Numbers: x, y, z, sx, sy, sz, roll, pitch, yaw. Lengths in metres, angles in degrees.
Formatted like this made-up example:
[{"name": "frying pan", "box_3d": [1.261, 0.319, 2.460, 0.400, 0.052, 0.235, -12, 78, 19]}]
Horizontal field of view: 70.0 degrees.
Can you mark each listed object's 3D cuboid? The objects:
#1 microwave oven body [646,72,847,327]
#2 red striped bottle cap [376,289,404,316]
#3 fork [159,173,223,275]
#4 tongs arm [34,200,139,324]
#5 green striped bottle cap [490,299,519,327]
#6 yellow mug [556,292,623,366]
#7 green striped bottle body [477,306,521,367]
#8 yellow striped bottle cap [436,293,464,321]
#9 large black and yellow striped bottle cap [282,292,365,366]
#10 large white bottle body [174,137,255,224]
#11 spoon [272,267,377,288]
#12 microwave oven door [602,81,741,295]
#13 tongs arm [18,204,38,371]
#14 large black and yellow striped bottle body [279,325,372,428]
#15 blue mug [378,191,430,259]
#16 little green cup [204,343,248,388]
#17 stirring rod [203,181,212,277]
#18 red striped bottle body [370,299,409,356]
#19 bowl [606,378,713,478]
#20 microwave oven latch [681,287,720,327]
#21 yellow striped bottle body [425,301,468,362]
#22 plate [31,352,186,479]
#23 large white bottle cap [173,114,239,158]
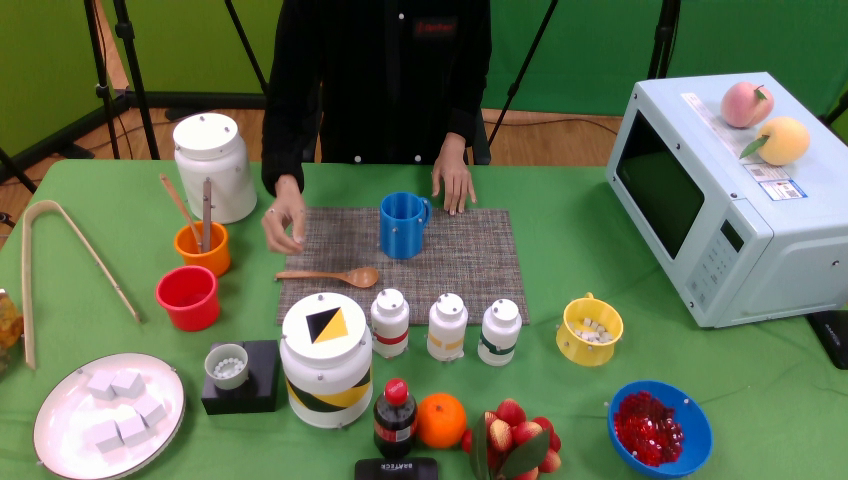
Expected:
[{"name": "microwave oven body", "box_3d": [0.607, -0.089, 1.164, 0.326, 0.261, 0.438, -7, 46, -10]}, {"name": "red striped bottle cap", "box_3d": [-0.055, 0.098, 0.958, 0.044, 0.018, 0.044, 0, 48, 0]}, {"name": "fork", "box_3d": [-0.427, -0.029, 1.103, 0.028, 0.018, 0.207, -31, 99, -30]}, {"name": "tongs arm", "box_3d": [-0.622, 0.034, 1.105, 0.051, 0.026, 0.382, -32, 56, -25]}, {"name": "green striped bottle cap", "box_3d": [0.127, 0.115, 0.958, 0.044, 0.020, 0.044, 2, 47, -2]}, {"name": "yellow mug", "box_3d": [0.285, 0.145, 1.051, 0.100, 0.064, 0.130, 8, 45, 3]}, {"name": "green striped bottle body", "box_3d": [0.124, 0.151, 0.995, 0.063, 0.120, 0.063, 2, 46, -2]}, {"name": "yellow striped bottle cap", "box_3d": [0.041, 0.106, 0.959, 0.044, 0.019, 0.044, -1, 50, 2]}, {"name": "large black and yellow striped bottle cap", "box_3d": [-0.139, 0.121, 0.841, 0.115, 0.019, 0.114, 3, 47, -3]}, {"name": "large white bottle body", "box_3d": [-0.408, -0.136, 1.183, 0.131, 0.185, 0.130, 2, 46, -2]}, {"name": "spoon", "box_3d": [-0.183, 0.066, 1.115, 0.194, 0.022, 0.041, 3, 68, -1]}, {"name": "microwave oven door", "box_3d": [0.456, -0.107, 1.162, 0.039, 0.245, 0.353, -7, 47, -11]}, {"name": "tongs arm", "box_3d": [-0.698, 0.070, 1.069, 0.028, 0.028, 0.385, -21, 51, -13]}, {"name": "large black and yellow striped bottle body", "box_3d": [-0.143, 0.181, 0.900, 0.131, 0.185, 0.130, 2, 46, -2]}, {"name": "blue mug", "box_3d": [-0.034, -0.035, 1.166, 0.116, 0.106, 0.082, -30, 55, -29]}, {"name": "little green cup", "box_3d": [-0.294, 0.190, 0.909, 0.061, 0.039, 0.061, 1, 48, -1]}, {"name": "stirring rod", "box_3d": [-0.396, -0.021, 1.108, 0.014, 0.006, 0.176, -1, 89, -1]}, {"name": "red striped bottle body", "box_3d": [-0.058, 0.134, 0.997, 0.063, 0.120, 0.062, 4, 47, -4]}, {"name": "bowl", "box_3d": [0.340, 0.292, 0.906, 0.151, 0.077, 0.150, 2, 46, -2]}, {"name": "microwave oven latch", "box_3d": [0.494, 0.119, 1.087, 0.030, 0.029, 0.078, -6, 46, -9]}, {"name": "yellow striped bottle body", "box_3d": [0.037, 0.142, 0.996, 0.063, 0.121, 0.062, 3, 46, -3]}, {"name": "plate", "box_3d": [-0.459, 0.262, 0.898, 0.209, 0.038, 0.208, 2, 46, -2]}, {"name": "large white bottle cap", "box_3d": [-0.403, -0.195, 1.122, 0.115, 0.018, 0.114, 2, 47, -2]}]
